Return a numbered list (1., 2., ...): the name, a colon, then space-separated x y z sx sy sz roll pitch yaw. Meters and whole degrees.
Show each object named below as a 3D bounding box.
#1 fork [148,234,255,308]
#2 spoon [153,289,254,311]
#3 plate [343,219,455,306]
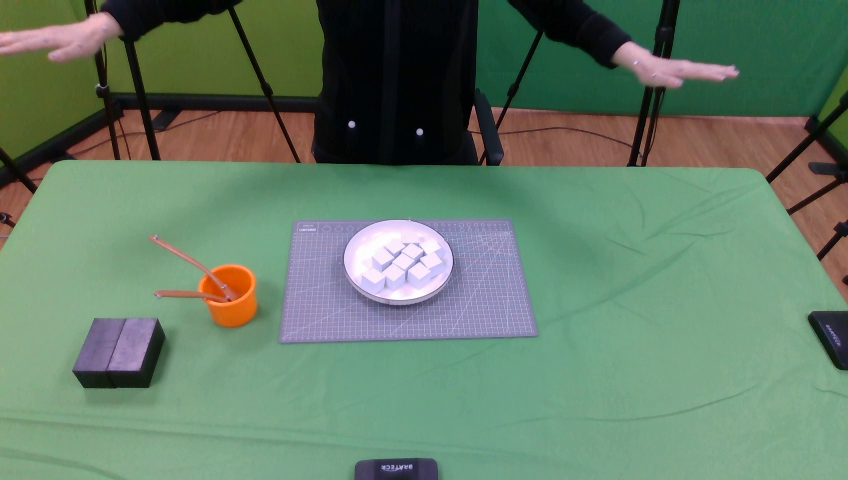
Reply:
1. fork: -0.372 0.054 1.020 0.208 0.018 0.028 43 22 -22
2. spoon: -0.355 0.094 0.990 0.021 0.195 0.041 -49 59 11
3. plate: -0.047 0.045 1.136 0.208 0.039 0.206 2 46 -2
